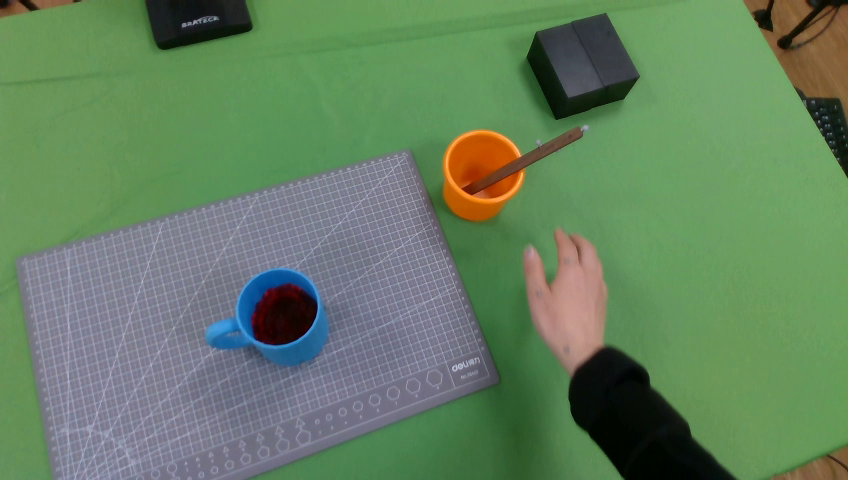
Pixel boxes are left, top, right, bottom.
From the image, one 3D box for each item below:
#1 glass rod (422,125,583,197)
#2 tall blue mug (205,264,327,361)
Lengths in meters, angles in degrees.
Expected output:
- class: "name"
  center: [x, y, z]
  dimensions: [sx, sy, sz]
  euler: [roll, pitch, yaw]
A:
- class: "glass rod"
  center: [0.082, -0.085, 0.671]
  dimensions: [0.199, 0.008, 0.008]
  euler: [-21, 69, 27]
- class: "tall blue mug"
  center: [-0.150, 0.085, 0.601]
  dimensions: [0.107, 0.108, 0.077]
  euler: [-41, 80, -17]
